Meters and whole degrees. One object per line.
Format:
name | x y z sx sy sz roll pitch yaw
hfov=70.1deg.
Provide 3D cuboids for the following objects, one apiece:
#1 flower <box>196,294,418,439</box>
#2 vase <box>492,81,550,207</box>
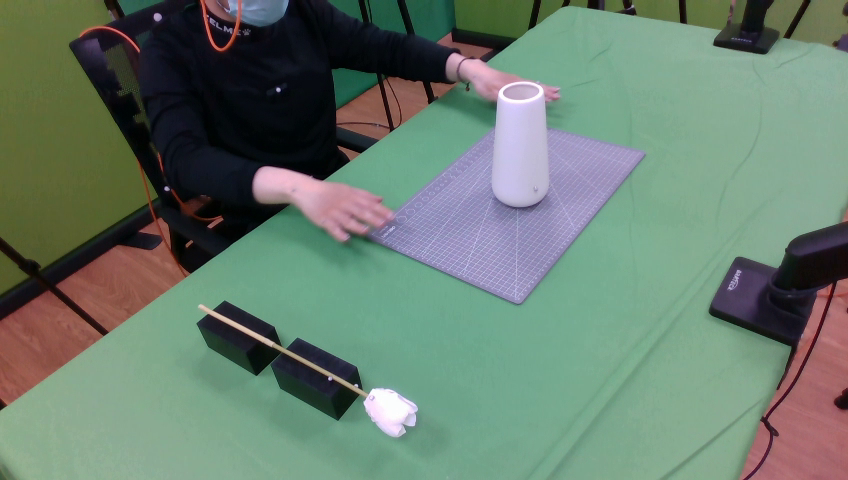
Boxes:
flower | -0.163 0.142 0.752 0.359 0.038 0.044 24 67 26
vase | 0.159 -0.151 0.982 0.098 0.201 0.097 -3 41 3
